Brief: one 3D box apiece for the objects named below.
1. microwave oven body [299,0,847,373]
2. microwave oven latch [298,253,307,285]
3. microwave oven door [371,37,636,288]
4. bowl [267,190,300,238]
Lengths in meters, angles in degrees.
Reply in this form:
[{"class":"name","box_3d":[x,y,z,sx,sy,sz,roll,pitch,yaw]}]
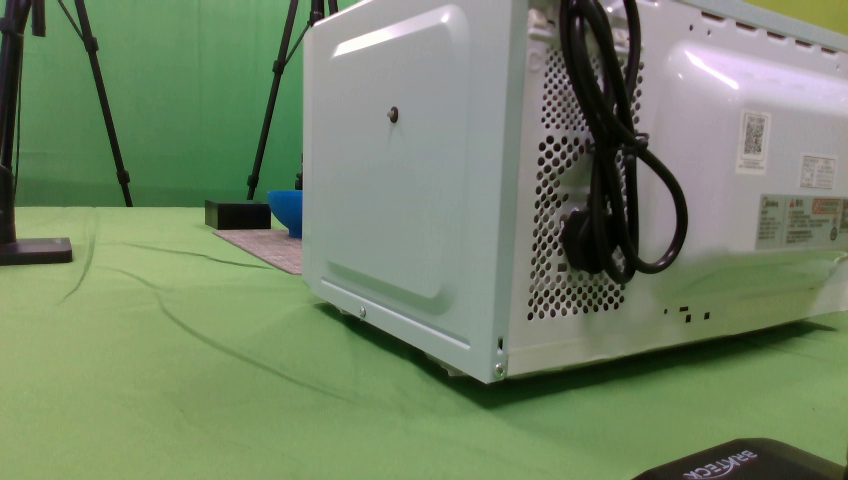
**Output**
[{"class":"microwave oven body","box_3d":[0.151,-0.055,0.543,0.444,0.260,0.324,-2,7,-33]},{"class":"microwave oven latch","box_3d":[-0.081,0.027,0.582,0.079,0.029,0.030,-1,7,-32]},{"class":"microwave oven door","box_3d":[0.109,-0.080,0.687,0.358,0.243,0.039,-2,9,-33]},{"class":"bowl","box_3d":[-0.202,-0.046,1.069,0.151,0.077,0.151,3,7,0]}]
